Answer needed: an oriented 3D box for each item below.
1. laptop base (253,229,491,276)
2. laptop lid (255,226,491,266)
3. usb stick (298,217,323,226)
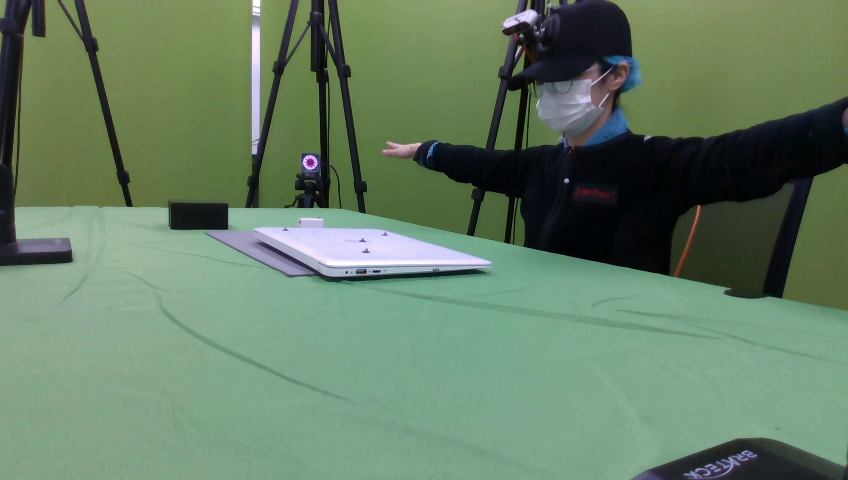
[{"bbox_3d":[-0.094,0.016,0.889,0.237,0.023,0.352,2,7,-30],"label":"laptop base"},{"bbox_3d":[-0.092,0.003,0.889,0.243,0.013,0.355,1,8,-28],"label":"laptop lid"},{"bbox_3d":[-0.223,-0.031,1.150,0.059,0.027,0.021,-5,11,-29],"label":"usb stick"}]
